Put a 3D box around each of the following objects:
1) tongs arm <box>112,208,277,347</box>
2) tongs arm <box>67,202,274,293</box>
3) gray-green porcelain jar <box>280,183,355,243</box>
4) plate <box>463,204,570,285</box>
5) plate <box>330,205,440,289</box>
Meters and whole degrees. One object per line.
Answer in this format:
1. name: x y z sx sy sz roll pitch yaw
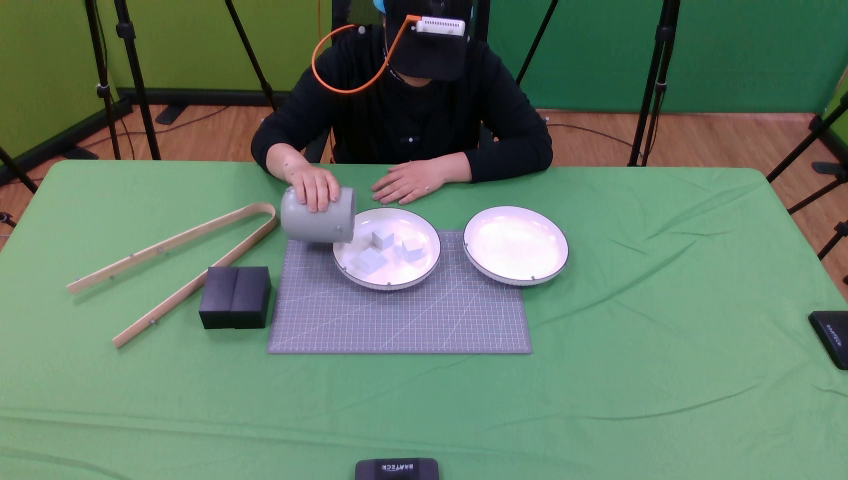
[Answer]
1. tongs arm: -0.400 0.058 1.108 0.028 0.028 0.387 26 49 23
2. tongs arm: -0.461 0.013 1.142 0.385 0.026 0.050 -31 56 -31
3. gray-green porcelain jar: -0.195 -0.050 1.119 0.126 0.106 0.105 3 46 -2
4. plate: 0.178 0.012 1.184 0.209 0.038 0.208 3 46 -3
5. plate: -0.074 0.017 1.160 0.208 0.039 0.206 2 46 -2
